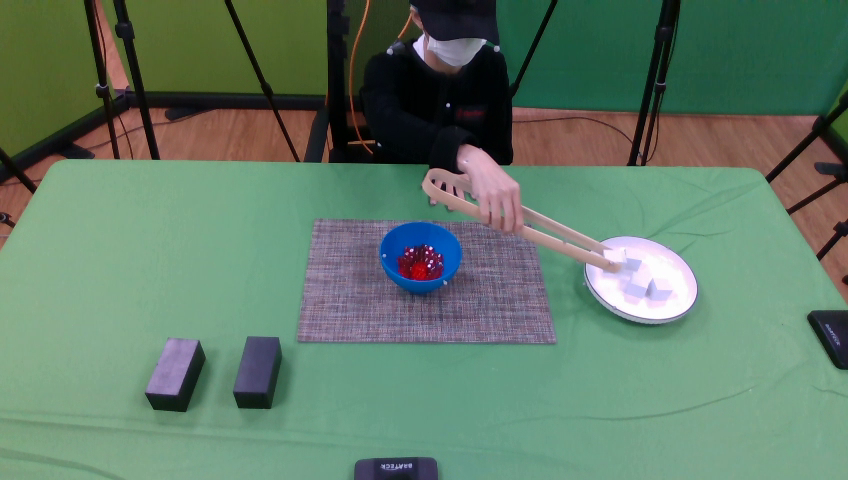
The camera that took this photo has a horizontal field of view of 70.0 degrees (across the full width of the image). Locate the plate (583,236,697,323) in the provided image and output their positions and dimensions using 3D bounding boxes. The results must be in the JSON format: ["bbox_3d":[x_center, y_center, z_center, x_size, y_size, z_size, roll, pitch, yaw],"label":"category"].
[{"bbox_3d":[0.403,0.078,1.144,0.209,0.038,0.208,2,45,-2],"label":"plate"}]

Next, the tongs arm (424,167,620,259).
[{"bbox_3d":[0.174,-0.046,1.081,0.388,0.028,0.028,23,48,-7],"label":"tongs arm"}]

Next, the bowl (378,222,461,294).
[{"bbox_3d":[-0.010,0.046,1.110,0.151,0.077,0.150,2,46,-2],"label":"bowl"}]

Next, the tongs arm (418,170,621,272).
[{"bbox_3d":[0.169,-0.030,1.065,0.385,0.026,0.050,20,45,-10],"label":"tongs arm"}]
